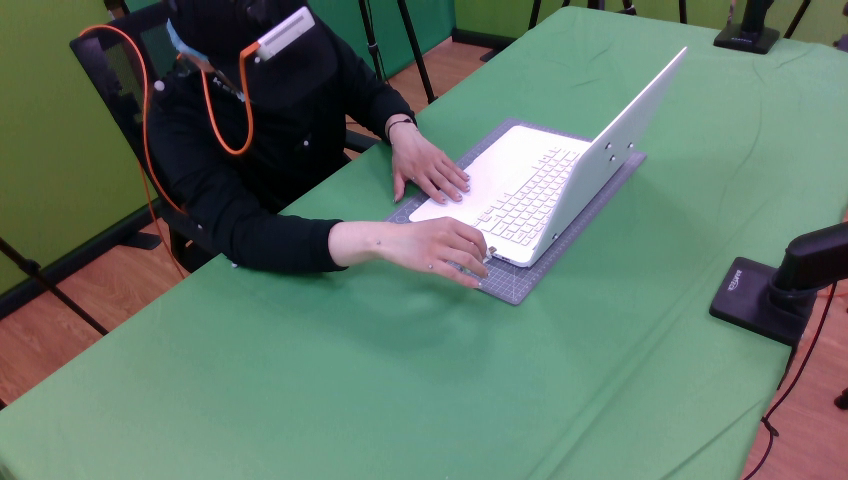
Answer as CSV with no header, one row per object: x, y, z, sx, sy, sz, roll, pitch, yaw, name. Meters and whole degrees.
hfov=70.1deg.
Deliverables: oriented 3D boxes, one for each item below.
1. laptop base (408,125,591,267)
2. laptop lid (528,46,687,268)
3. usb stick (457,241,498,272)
0.168,-0.091,1.053,0.233,0.023,0.355,21,48,33,laptop base
0.277,-0.126,0.903,0.013,0.242,0.358,35,53,17,laptop lid
0.078,0.020,0.864,0.059,0.027,0.021,-27,25,-21,usb stick
